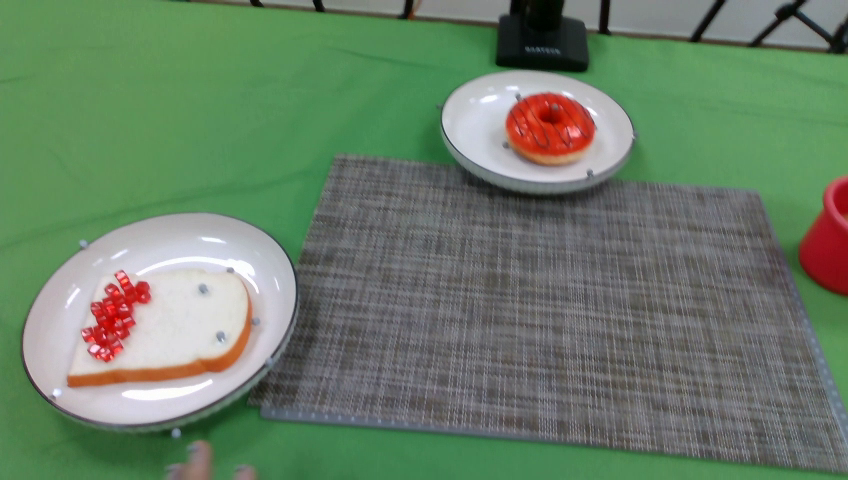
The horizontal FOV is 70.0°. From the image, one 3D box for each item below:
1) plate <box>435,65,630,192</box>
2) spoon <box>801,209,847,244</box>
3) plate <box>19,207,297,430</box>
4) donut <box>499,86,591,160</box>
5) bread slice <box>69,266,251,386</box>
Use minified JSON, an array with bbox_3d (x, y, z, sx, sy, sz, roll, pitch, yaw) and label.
[{"bbox_3d":[0.115,-0.119,0.660,0.208,0.039,0.205,2,47,-1],"label":"plate"},{"bbox_3d":[0.426,-0.024,0.512,0.193,0.022,0.041,-11,30,45],"label":"spoon"},{"bbox_3d":[-0.207,0.059,0.492,0.209,0.038,0.207,1,49,-1],"label":"plate"},{"bbox_3d":[0.129,-0.125,0.650,0.099,0.048,0.098,2,49,-2],"label":"donut"},{"bbox_3d":[-0.208,0.063,0.492,0.132,0.019,0.104,-5,49,-5],"label":"bread slice"}]
